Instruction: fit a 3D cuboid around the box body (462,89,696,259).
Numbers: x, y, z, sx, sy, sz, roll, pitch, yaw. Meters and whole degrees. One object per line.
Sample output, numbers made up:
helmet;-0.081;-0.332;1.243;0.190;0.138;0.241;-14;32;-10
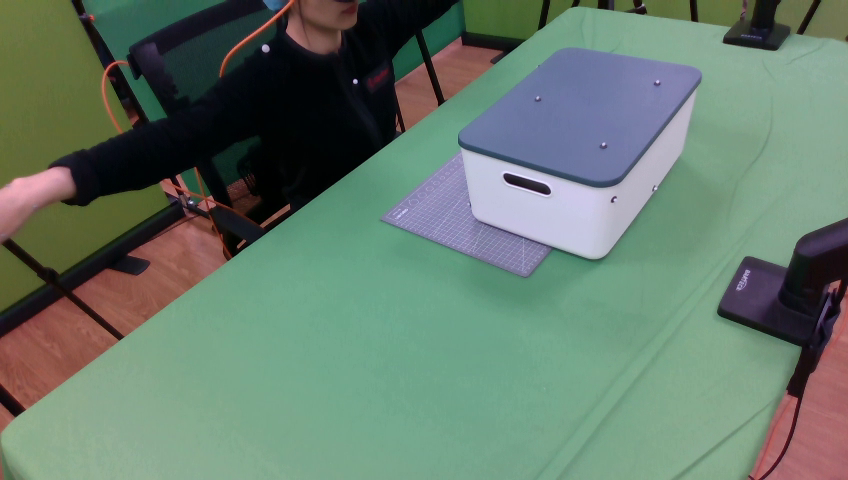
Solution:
box body;0.261;-0.153;1.001;0.252;0.161;0.365;21;48;31

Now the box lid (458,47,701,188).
box lid;0.253;-0.211;0.954;0.261;0.015;0.372;22;49;30
